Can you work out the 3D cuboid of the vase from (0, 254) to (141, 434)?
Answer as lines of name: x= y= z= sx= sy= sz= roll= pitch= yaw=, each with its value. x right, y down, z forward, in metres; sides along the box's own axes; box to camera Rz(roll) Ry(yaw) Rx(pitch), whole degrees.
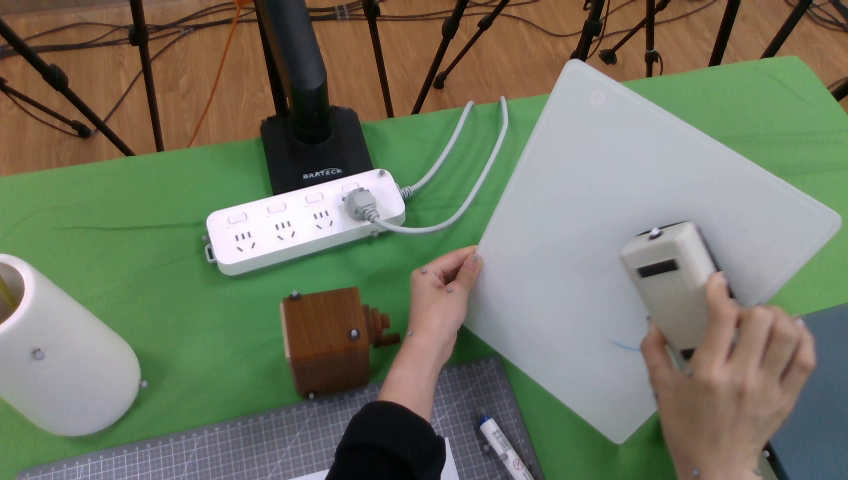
vase: x=-0.306 y=0.088 z=0.488 sx=0.098 sy=0.201 sz=0.097 roll=2 pitch=58 yaw=-3

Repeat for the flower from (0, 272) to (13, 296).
flower: x=-0.298 y=0.030 z=0.428 sx=0.038 sy=0.365 sz=0.043 roll=-22 pitch=45 yaw=-26

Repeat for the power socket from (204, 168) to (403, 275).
power socket: x=-0.129 y=-0.023 z=0.670 sx=0.227 sy=0.033 sz=0.071 roll=-17 pitch=63 yaw=-15

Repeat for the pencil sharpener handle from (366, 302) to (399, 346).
pencil sharpener handle: x=-0.037 y=0.079 z=0.561 sx=0.031 sy=0.068 sz=0.035 roll=-9 pitch=60 yaw=-11

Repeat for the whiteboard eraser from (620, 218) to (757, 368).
whiteboard eraser: x=0.198 y=0.040 z=0.452 sx=0.042 sy=0.055 sz=0.113 roll=-39 pitch=101 yaw=-46

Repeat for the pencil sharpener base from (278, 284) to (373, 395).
pencil sharpener base: x=-0.088 y=0.094 z=0.561 sx=0.077 sy=0.108 sz=0.061 roll=-9 pitch=60 yaw=-11

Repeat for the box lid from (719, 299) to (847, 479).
box lid: x=0.399 y=0.201 z=0.425 sx=0.264 sy=0.015 sz=0.367 roll=-12 pitch=61 yaw=-13

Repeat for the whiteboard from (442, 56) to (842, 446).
whiteboard: x=0.185 y=0.004 z=0.562 sx=0.216 sy=0.307 sz=0.144 roll=37 pitch=43 yaw=17

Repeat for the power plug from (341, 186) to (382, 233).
power plug: x=-0.068 y=-0.026 z=0.651 sx=0.035 sy=0.053 sz=0.072 roll=-8 pitch=62 yaw=-10

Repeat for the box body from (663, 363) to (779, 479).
box body: x=0.394 y=0.243 z=0.487 sx=0.255 sy=0.161 sz=0.360 roll=-12 pitch=61 yaw=-13
